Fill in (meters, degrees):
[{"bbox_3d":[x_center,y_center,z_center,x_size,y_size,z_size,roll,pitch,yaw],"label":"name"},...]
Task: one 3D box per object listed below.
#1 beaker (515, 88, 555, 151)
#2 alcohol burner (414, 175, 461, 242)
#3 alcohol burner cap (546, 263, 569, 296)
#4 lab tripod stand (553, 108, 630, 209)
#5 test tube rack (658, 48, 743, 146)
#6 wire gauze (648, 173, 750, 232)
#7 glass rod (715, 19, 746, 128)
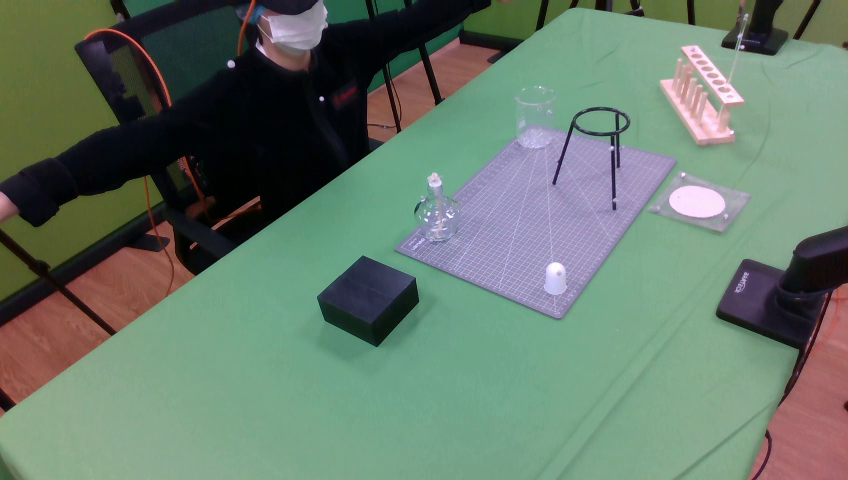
[{"bbox_3d":[0.213,-0.230,1.152,0.073,0.101,0.084,20,47,29],"label":"beaker"},{"bbox_3d":[0.021,-0.055,0.963,0.078,0.119,0.077,-3,41,3],"label":"alcohol burner"},{"bbox_3d":[0.191,0.053,0.862,0.034,0.048,0.033,-5,40,4],"label":"alcohol burner cap"},{"bbox_3d":[0.292,-0.144,1.010,0.148,0.132,0.147,-5,38,4],"label":"lab tripod stand"},{"bbox_3d":[0.532,-0.284,1.181,0.067,0.085,0.241,-5,40,4],"label":"test tube rack"},{"bbox_3d":[0.451,-0.062,0.990,0.120,0.011,0.125,26,49,32],"label":"wire gauze"},{"bbox_3d":[0.549,-0.293,1.085,0.008,0.200,0.008,-1,33,1],"label":"glass rod"}]
